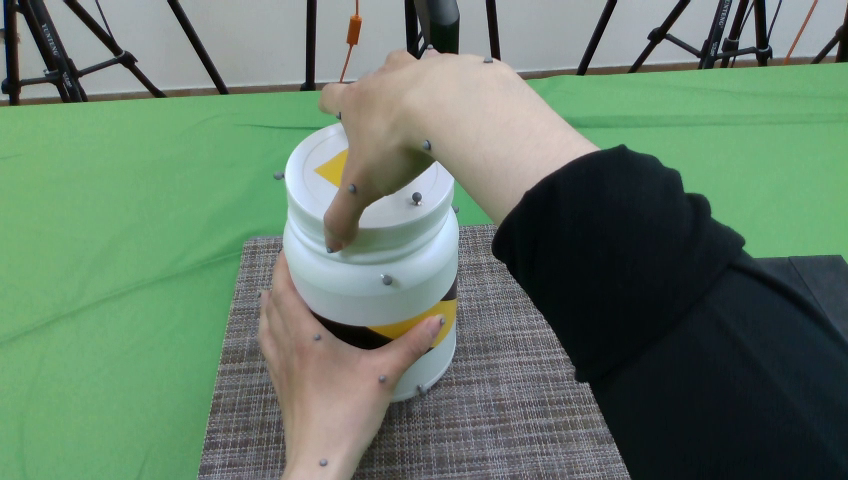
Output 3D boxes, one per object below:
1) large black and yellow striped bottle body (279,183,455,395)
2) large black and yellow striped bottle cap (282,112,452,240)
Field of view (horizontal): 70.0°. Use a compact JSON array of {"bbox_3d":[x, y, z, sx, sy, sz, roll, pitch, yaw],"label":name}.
[{"bbox_3d":[-0.041,0.022,0.482,0.131,0.185,0.129,0,44,1],"label":"large black and yellow striped bottle body"},{"bbox_3d":[-0.038,-0.047,0.413,0.115,0.019,0.114,1,48,-1],"label":"large black and yellow striped bottle cap"}]
